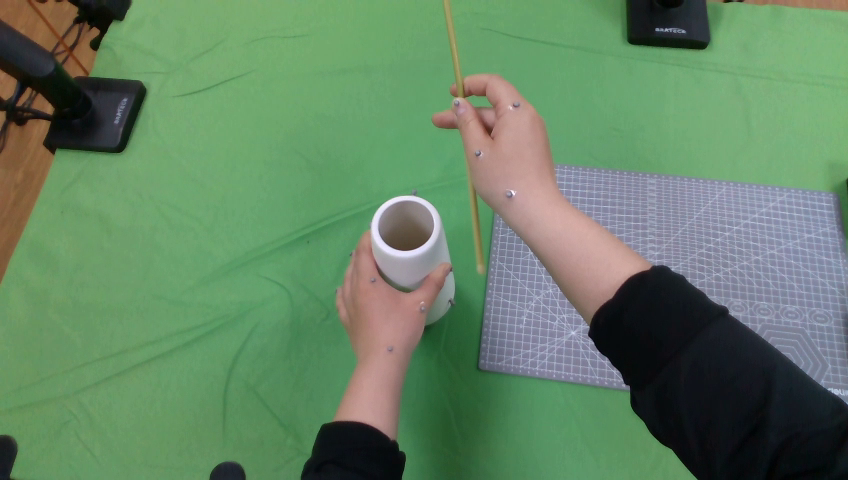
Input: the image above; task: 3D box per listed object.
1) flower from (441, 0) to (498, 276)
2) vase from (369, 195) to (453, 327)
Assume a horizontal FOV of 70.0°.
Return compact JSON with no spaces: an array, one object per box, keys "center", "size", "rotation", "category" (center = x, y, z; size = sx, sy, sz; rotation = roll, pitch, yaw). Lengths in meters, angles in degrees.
[{"center":[0.026,-0.140,0.478],"size":[0.038,0.043,0.363],"rotation":[-19,106,-25],"category":"flower"},{"center":[-0.014,0.027,0.675],"size":[0.098,0.201,0.097],"rotation":[0,65,0],"category":"vase"}]
